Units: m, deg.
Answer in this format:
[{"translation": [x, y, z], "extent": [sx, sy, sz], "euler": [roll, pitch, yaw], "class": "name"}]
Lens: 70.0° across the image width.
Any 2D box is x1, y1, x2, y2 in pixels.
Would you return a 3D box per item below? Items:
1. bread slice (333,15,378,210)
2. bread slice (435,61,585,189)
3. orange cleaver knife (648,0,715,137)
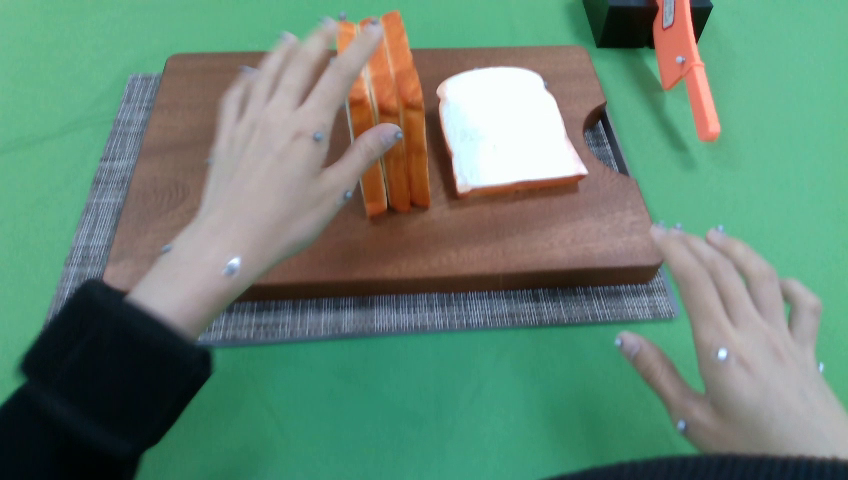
[{"translation": [-0.052, -0.103, 0.457], "extent": [0.018, 0.108, 0.133], "euler": [-7, 46, -7], "class": "bread slice"}, {"translation": [0.064, -0.099, 0.504], "extent": [0.105, 0.019, 0.130], "euler": [-8, 57, -7], "class": "bread slice"}, {"translation": [0.240, -0.185, 0.578], "extent": [0.012, 0.077, 0.210], "euler": [0, 72, -6], "class": "orange cleaver knife"}]
